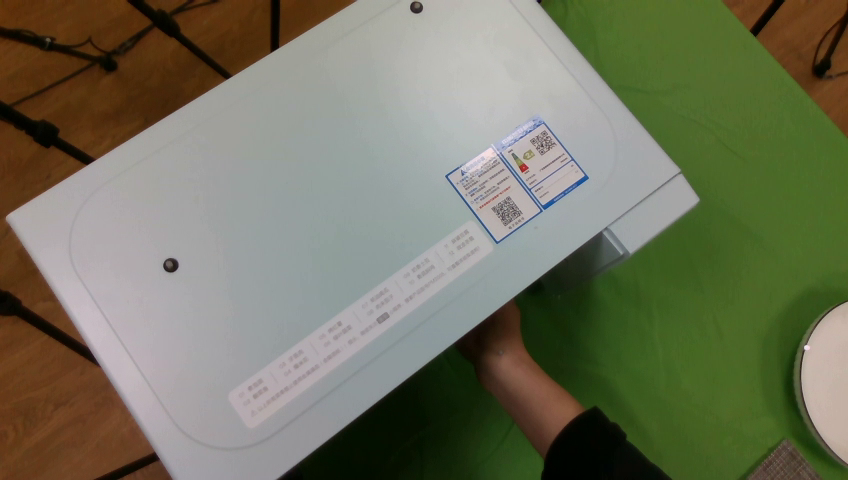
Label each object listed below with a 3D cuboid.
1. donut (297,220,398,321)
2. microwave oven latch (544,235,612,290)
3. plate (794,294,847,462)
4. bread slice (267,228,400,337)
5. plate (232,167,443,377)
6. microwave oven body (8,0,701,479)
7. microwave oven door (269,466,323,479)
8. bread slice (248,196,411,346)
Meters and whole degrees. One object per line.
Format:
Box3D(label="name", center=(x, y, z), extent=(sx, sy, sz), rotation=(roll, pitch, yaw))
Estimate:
Box3D(label="donut", center=(-0.073, 0.029, 0.587), extent=(0.099, 0.048, 0.098), rotation=(3, 79, -17))
Box3D(label="microwave oven latch", center=(0.171, 0.024, 0.681), extent=(0.079, 0.029, 0.030), rotation=(-32, 81, -9))
Box3D(label="plate", center=(0.519, 0.161, 0.692), extent=(0.208, 0.039, 0.206), rotation=(1, 77, -3))
Box3D(label="bread slice", center=(-0.095, 0.046, 0.633), extent=(0.132, 0.019, 0.104), rotation=(-15, 75, -34))
Box3D(label="plate", center=(-0.085, 0.031, 0.613), extent=(0.209, 0.038, 0.208), rotation=(1, 81, -5))
Box3D(label="microwave oven body", center=(-0.054, -0.012, 0.576), extent=(0.441, 0.261, 0.325), rotation=(-36, 82, -10))
Box3D(label="microwave oven door", center=(0.013, 0.299, 0.505), extent=(0.355, 0.244, 0.039), rotation=(27, 77, 3))
Box3D(label="bread slice", center=(-0.080, 0.018, 0.561), extent=(0.134, 0.018, 0.107), rotation=(-28, 88, -16))
